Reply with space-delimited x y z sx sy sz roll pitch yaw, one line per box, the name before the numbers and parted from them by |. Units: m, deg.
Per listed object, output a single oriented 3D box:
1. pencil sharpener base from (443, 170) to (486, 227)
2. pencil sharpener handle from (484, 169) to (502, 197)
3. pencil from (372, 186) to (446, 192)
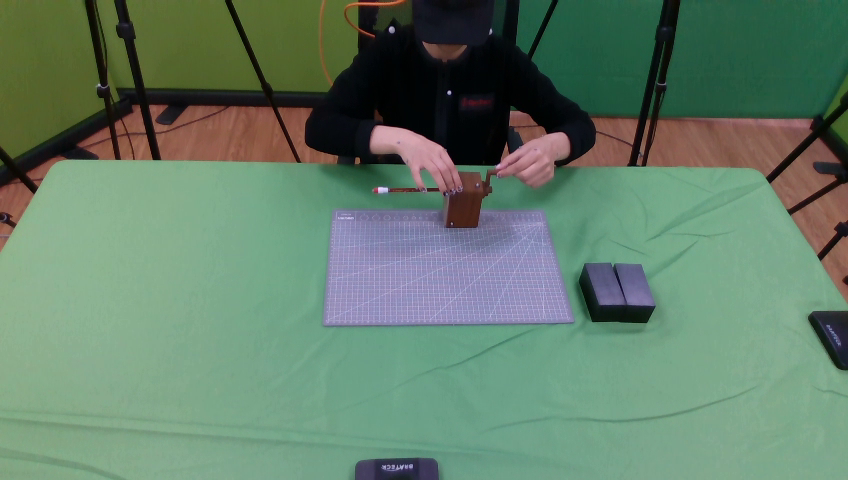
pencil sharpener base | 0.080 -0.082 1.220 0.077 0.107 0.061 0 46 -4
pencil sharpener handle | 0.133 -0.112 1.193 0.031 0.068 0.036 0 48 -4
pencil | -0.005 -0.101 1.197 0.194 0.012 0.012 0 46 -2
